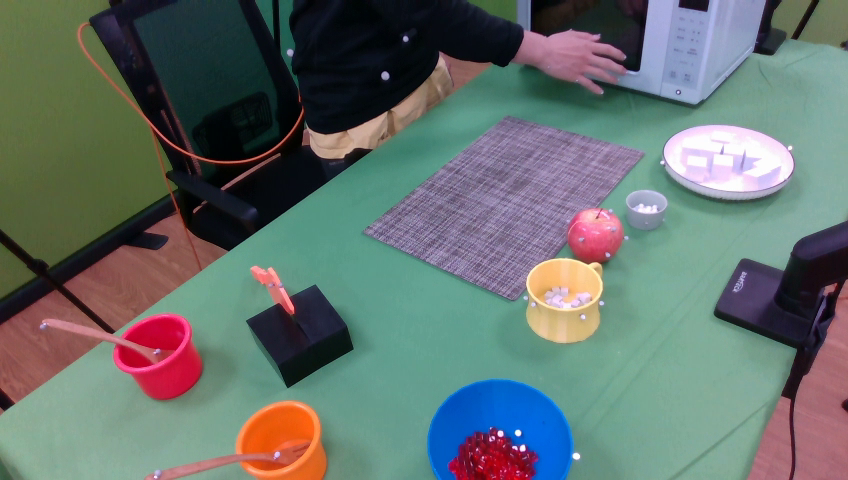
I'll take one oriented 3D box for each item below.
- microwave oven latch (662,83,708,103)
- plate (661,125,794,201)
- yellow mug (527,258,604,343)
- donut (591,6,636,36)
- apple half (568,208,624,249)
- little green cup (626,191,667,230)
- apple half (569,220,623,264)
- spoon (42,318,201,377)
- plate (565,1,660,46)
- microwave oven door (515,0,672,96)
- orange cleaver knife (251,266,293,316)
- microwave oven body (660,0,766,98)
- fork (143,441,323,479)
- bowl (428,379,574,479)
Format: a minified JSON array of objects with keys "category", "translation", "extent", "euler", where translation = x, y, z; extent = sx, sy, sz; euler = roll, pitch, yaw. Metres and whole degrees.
[{"category":"microwave oven latch","translation":[0.517,-0.296,1.204],"extent":[0.078,0.029,0.030],"euler":[27,52,35]},{"category":"plate","translation":[0.514,-0.128,1.035],"extent":[0.207,0.039,0.206],"euler":[-4,40,4]},{"category":"yellow mug","translation":[0.202,0.072,0.825],"extent":[0.131,0.064,0.099],"euler":[-32,46,-27]},{"category":"donut","translation":[0.427,-0.497,1.364],"extent":[0.099,0.048,0.098],"euler":[-5,38,5]},{"category":"apple half","translation":[0.259,-0.014,0.914],"extent":[0.080,0.075,0.053],"euler":[0,36,15]},{"category":"little green cup","translation":[0.352,-0.046,0.963],"extent":[0.061,0.039,0.061],"euler":[-4,40,4]},{"category":"apple half","translation":[0.251,0.010,0.884],"extent":[0.081,0.081,0.032],"euler":[3,37,12]},{"category":"spoon","translation":[-0.385,0.135,0.779],"extent":[0.195,0.021,0.041],"euler":[28,37,-26]},{"category":"plate","translation":[0.427,-0.489,1.377],"extent":[0.209,0.038,0.208],"euler":[-4,40,4]},{"category":"microwave oven door","translation":[0.344,-0.455,1.259],"extent":[0.353,0.245,0.039],"euler":[26,51,33]},{"category":"orange cleaver knife","translation":[-0.221,0.071,0.873],"extent":[0.012,0.077,0.210],"euler":[-26,11,-21]},{"category":"microwave oven body","translation":[0.472,-0.513,1.317],"extent":[0.438,0.261,0.327],"euler":[26,51,34]},{"category":"fork","translation":[-0.189,0.231,0.631],"extent":[0.028,0.018,0.209],"euler":[37,13,37]},{"category":"bowl","translation":[0.082,0.233,0.644],"extent":[0.151,0.077,0.150],"euler":[-4,39,4]}]
